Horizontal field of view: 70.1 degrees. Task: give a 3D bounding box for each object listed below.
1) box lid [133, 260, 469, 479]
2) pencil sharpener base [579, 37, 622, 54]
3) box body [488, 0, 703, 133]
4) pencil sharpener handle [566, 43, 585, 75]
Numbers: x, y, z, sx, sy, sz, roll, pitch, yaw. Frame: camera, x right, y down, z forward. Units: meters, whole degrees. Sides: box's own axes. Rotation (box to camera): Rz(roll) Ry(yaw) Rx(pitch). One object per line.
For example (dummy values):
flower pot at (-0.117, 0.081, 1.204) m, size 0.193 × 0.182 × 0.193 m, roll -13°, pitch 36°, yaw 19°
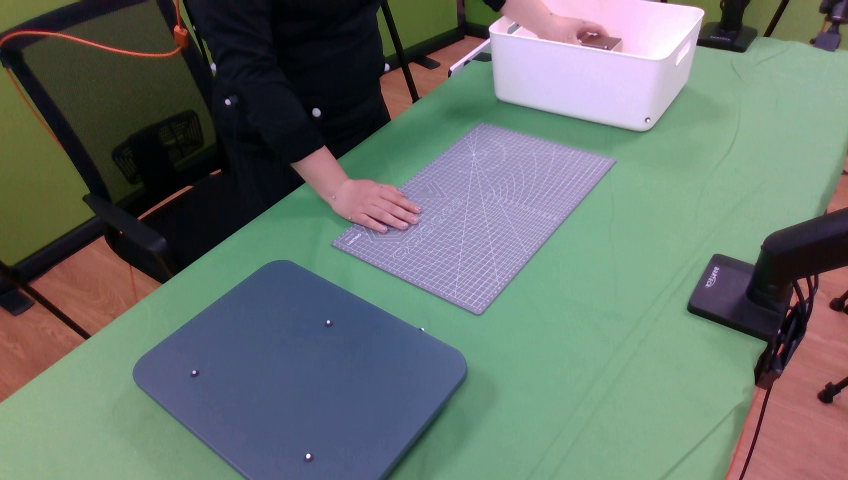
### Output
box lid at (-0.156, 0.161, 0.747) m, size 0.368 × 0.015 × 0.264 m, roll 23°, pitch 49°, yaw 31°
pencil sharpener base at (0.364, -0.362, 1.267) m, size 0.076 × 0.107 × 0.061 m, roll 20°, pitch 48°, yaw 31°
box body at (0.346, -0.374, 1.251) m, size 0.361 × 0.161 × 0.255 m, roll 21°, pitch 48°, yaw 29°
pencil sharpener handle at (0.320, -0.385, 1.283) m, size 0.030 × 0.068 × 0.036 m, roll 20°, pitch 40°, yaw 31°
